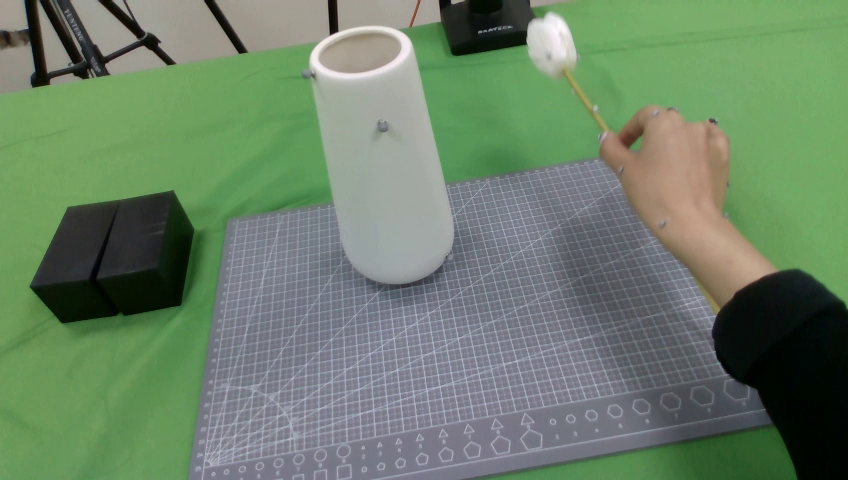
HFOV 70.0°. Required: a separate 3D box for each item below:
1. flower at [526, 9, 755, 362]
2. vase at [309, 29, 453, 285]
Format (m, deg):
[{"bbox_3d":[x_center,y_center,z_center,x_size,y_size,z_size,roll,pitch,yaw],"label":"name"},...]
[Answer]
[{"bbox_3d":[0.168,-0.063,0.501,0.038,0.044,0.358,7,51,-41],"label":"flower"},{"bbox_3d":[-0.033,-0.056,0.473,0.098,0.202,0.097,-5,45,5],"label":"vase"}]
